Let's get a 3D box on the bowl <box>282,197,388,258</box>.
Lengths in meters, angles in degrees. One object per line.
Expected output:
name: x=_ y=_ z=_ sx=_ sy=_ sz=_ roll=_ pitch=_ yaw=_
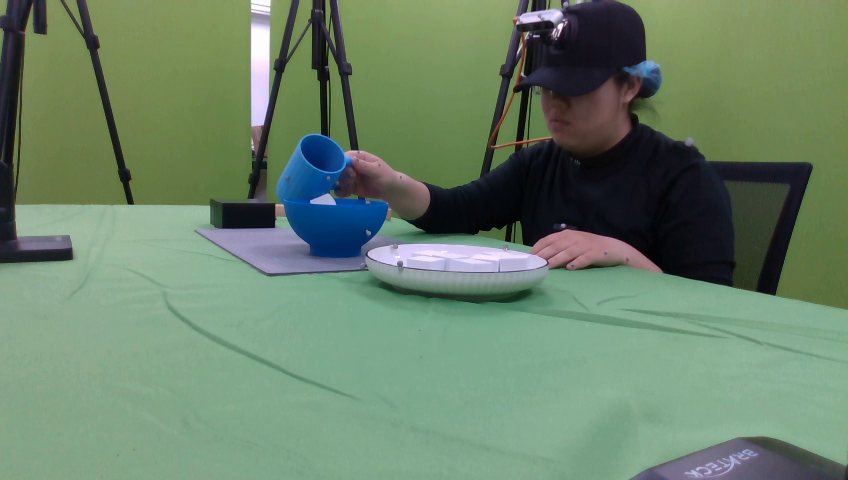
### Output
bowl: x=-0.127 y=-0.018 z=0.868 sx=0.151 sy=0.077 sz=0.151 roll=2 pitch=7 yaw=0

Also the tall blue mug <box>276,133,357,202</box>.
tall blue mug: x=-0.168 y=-0.109 z=0.953 sx=0.107 sy=0.078 sz=0.107 roll=-47 pitch=-2 yaw=43

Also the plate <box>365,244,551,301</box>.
plate: x=0.038 y=0.036 z=0.685 sx=0.209 sy=0.038 sz=0.209 roll=2 pitch=7 yaw=0

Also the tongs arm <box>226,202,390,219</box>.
tongs arm: x=-0.275 y=-0.071 z=1.446 sx=0.388 sy=0.027 sz=0.028 roll=2 pitch=-1 yaw=-4

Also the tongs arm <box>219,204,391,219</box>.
tongs arm: x=-0.258 y=-0.064 z=1.367 sx=0.386 sy=0.026 sz=0.050 roll=1 pitch=3 yaw=-17
